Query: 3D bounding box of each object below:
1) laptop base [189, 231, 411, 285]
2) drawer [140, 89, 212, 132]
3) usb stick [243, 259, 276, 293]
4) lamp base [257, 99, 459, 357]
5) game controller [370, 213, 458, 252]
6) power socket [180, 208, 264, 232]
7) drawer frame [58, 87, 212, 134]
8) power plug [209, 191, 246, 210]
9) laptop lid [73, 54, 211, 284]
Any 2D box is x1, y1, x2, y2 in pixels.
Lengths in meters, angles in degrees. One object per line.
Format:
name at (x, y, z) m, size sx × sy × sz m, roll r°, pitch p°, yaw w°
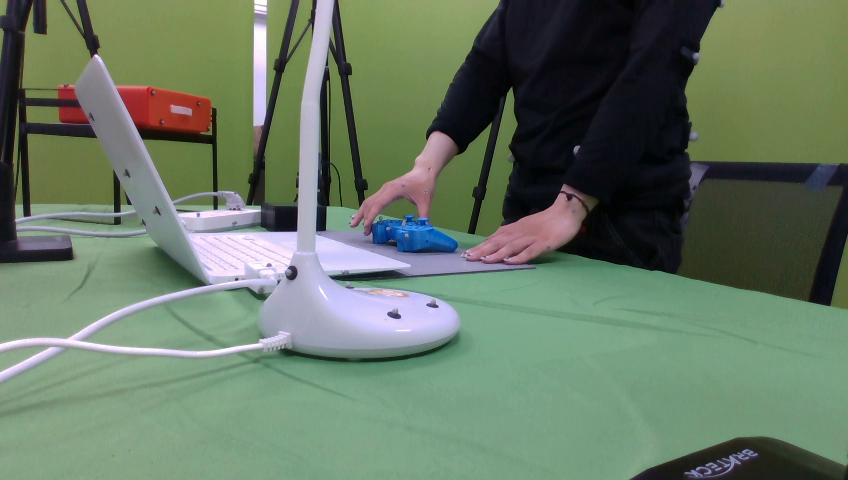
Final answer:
laptop base at (-0.204, 0.019, 0.807) m, size 0.237 × 0.023 × 0.352 m, roll 0°, pitch 7°, yaw -33°
drawer at (-0.588, -0.267, 1.260) m, size 0.211 × 0.073 × 0.195 m, roll 3°, pitch 8°, yaw 15°
usb stick at (-0.166, 0.035, 0.604) m, size 0.021 × 0.027 × 0.059 m, roll -8°, pitch 8°, yaw -28°
lamp base at (-0.055, -0.013, 0.463) m, size 0.160 × 0.180 × 0.180 m, roll 6°, pitch 11°, yaw 27°
game controller at (-0.021, -0.015, 0.978) m, size 0.097 × 0.051 × 0.154 m, roll -7°, pitch 11°, yaw -28°
power socket at (-0.381, -0.038, 1.128) m, size 0.072 × 0.032 × 0.227 m, roll 4°, pitch 8°, yaw 16°
drawer frame at (-0.593, -0.268, 1.260) m, size 0.213 × 0.082 × 0.202 m, roll 4°, pitch 8°, yaw 14°
power plug at (-0.387, -0.071, 1.204) m, size 0.072 × 0.052 × 0.035 m, roll 4°, pitch 8°, yaw 25°
laptop lid at (-0.341, -0.079, 0.704) m, size 0.013 × 0.242 × 0.355 m, roll -30°, pitch 23°, yaw -26°
